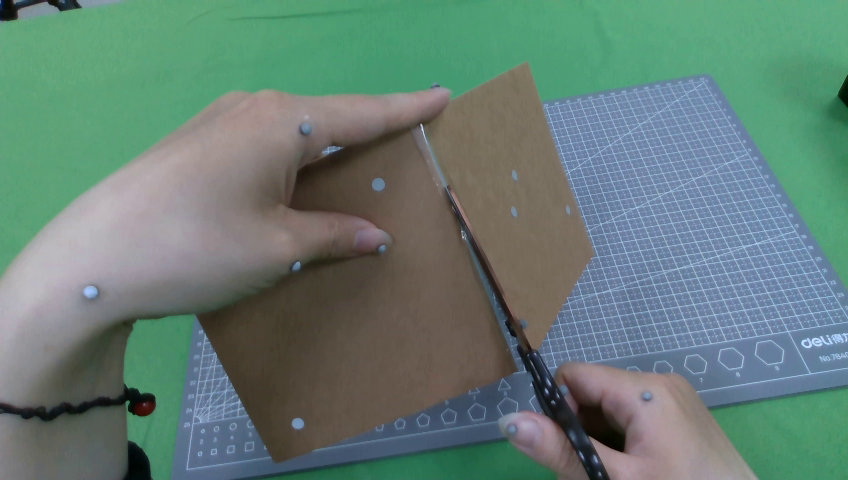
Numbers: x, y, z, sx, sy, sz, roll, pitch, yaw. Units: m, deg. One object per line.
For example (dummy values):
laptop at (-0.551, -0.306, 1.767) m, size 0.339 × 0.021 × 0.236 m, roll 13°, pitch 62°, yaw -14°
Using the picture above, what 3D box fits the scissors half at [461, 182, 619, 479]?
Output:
scissors half at (0.051, 0.051, 0.278) m, size 0.013 × 0.040 × 0.174 m, roll -21°, pitch 80°, yaw -17°

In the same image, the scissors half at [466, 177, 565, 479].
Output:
scissors half at (0.046, 0.052, 0.300) m, size 0.013 × 0.176 × 0.040 m, roll -20°, pitch 15°, yaw -12°

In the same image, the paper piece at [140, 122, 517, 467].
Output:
paper piece at (-0.042, 0.031, 0.293) m, size 0.138 × 0.136 × 0.008 m, roll -23°, pitch 12°, yaw 1°

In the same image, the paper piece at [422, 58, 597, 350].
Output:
paper piece at (0.059, -0.024, 0.340) m, size 0.004 × 0.136 × 0.135 m, roll -11°, pitch 19°, yaw 38°
